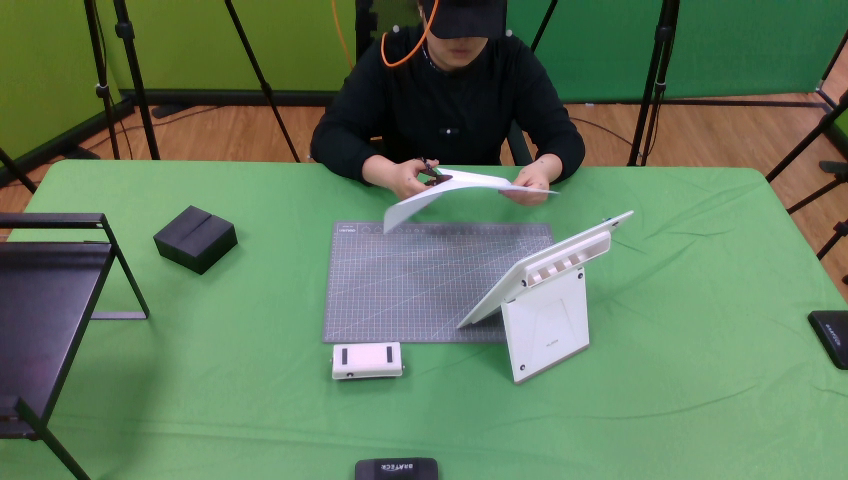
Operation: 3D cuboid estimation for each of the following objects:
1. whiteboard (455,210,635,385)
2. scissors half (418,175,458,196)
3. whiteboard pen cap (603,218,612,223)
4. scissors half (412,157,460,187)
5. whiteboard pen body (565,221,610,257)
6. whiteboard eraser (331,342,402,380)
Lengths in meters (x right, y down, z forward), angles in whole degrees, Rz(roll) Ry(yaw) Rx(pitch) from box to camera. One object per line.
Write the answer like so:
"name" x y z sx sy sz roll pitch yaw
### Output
"whiteboard" 0.211 0.111 0.955 0.217 0.306 0.143 -21 71 -23
"scissors half" 0.029 -0.107 1.162 0.013 0.175 0.040 -33 101 -18
"whiteboard pen cap" 0.379 -0.031 1.255 0.033 0.018 0.018 -33 57 -29
"scissors half" 0.022 -0.126 1.154 0.013 0.040 0.174 -28 33 -20
"whiteboard pen body" 0.335 -0.005 1.228 0.141 0.017 0.017 -33 56 -29
"whiteboard eraser" -0.094 0.198 0.986 0.113 0.042 0.055 -2 44 -6
